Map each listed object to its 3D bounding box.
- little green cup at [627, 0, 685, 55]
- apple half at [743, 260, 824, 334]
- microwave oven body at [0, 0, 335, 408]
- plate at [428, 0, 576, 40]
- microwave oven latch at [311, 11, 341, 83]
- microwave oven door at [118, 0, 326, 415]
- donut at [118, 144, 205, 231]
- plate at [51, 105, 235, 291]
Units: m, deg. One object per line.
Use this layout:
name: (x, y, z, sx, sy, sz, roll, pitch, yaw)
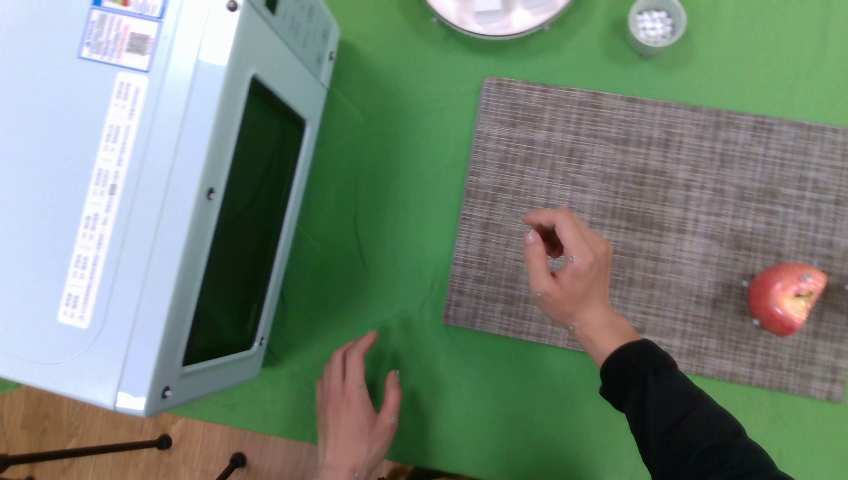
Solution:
little green cup: (0.263, -0.244, 0.695, 0.061, 0.039, 0.061, 0, 86, 7)
apple half: (0.373, 0.054, 0.646, 0.053, 0.075, 0.081, 30, 94, 11)
microwave oven body: (-0.316, -0.097, 0.633, 0.325, 0.261, 0.441, 13, 89, 6)
plate: (0.094, -0.336, 0.718, 0.207, 0.039, 0.207, 0, 87, 6)
microwave oven latch: (-0.121, -0.229, 0.716, 0.030, 0.029, 0.079, 16, 89, 7)
microwave oven door: (-0.186, -0.022, 0.610, 0.039, 0.244, 0.355, 13, 88, 7)
donut: (-0.292, -0.058, 0.673, 0.099, 0.048, 0.099, 1, 99, 9)
plate: (-0.311, -0.046, 0.683, 0.209, 0.038, 0.208, 0, 86, 5)
